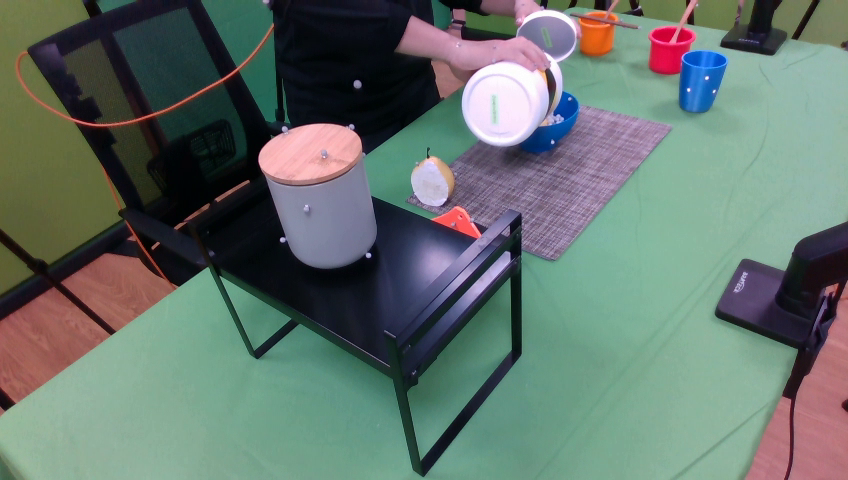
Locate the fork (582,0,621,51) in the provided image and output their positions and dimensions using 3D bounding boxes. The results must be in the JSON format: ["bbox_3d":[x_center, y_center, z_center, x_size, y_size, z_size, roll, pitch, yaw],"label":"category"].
[{"bbox_3d":[0.446,-0.538,1.438,0.207,0.019,0.028,-57,36,12],"label":"fork"}]

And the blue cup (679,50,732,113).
[{"bbox_3d":[0.545,-0.309,1.193,0.092,0.100,0.092,-4,39,3],"label":"blue cup"}]

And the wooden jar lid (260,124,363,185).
[{"bbox_3d":[-0.119,-0.088,0.645,0.108,0.021,0.108,-4,40,4],"label":"wooden jar lid"}]

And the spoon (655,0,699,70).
[{"bbox_3d":[0.567,-0.463,1.337,0.041,0.022,0.193,30,97,37],"label":"spoon"}]

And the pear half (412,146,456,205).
[{"bbox_3d":[0.019,-0.120,1.042,0.076,0.110,0.056,11,44,16],"label":"pear half"}]

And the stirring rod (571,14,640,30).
[{"bbox_3d":[0.418,-0.508,1.404,0.174,0.006,0.014,28,54,35],"label":"stirring rod"}]

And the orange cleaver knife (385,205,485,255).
[{"bbox_3d":[0.012,-0.010,0.942,0.012,0.077,0.210,-36,19,-35],"label":"orange cleaver knife"}]

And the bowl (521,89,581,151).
[{"bbox_3d":[0.221,-0.224,1.155,0.151,0.077,0.150,-4,41,4],"label":"bowl"}]

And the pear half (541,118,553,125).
[{"bbox_3d":[0.212,-0.227,1.151,0.088,0.031,0.070,6,43,10],"label":"pear half"}]

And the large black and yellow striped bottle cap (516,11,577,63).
[{"bbox_3d":[0.235,-0.387,1.163,0.114,0.115,0.018,5,59,15],"label":"large black and yellow striped bottle cap"}]

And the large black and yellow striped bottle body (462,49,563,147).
[{"bbox_3d":[0.156,-0.245,1.014,0.130,0.131,0.184,13,33,23],"label":"large black and yellow striped bottle body"}]

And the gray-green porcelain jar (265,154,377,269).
[{"bbox_3d":[-0.112,-0.039,0.685,0.106,0.127,0.105,-4,40,4],"label":"gray-green porcelain jar"}]
